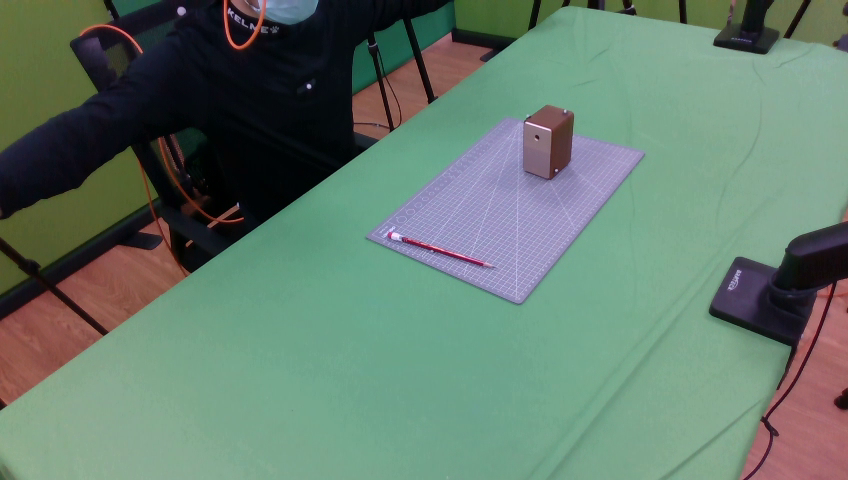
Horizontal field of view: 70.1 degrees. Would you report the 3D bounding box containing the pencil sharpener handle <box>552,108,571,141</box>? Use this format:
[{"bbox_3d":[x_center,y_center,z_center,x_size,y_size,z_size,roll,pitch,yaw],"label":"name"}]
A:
[{"bbox_3d":[0.254,-0.212,1.091,0.035,0.068,0.031,27,51,32],"label":"pencil sharpener handle"}]

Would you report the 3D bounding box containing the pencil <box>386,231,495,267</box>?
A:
[{"bbox_3d":[0.024,0.015,0.951,0.193,0.012,0.012,17,46,23],"label":"pencil"}]

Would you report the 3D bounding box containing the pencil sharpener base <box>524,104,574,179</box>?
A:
[{"bbox_3d":[0.222,-0.176,1.071,0.061,0.107,0.077,26,50,33],"label":"pencil sharpener base"}]
